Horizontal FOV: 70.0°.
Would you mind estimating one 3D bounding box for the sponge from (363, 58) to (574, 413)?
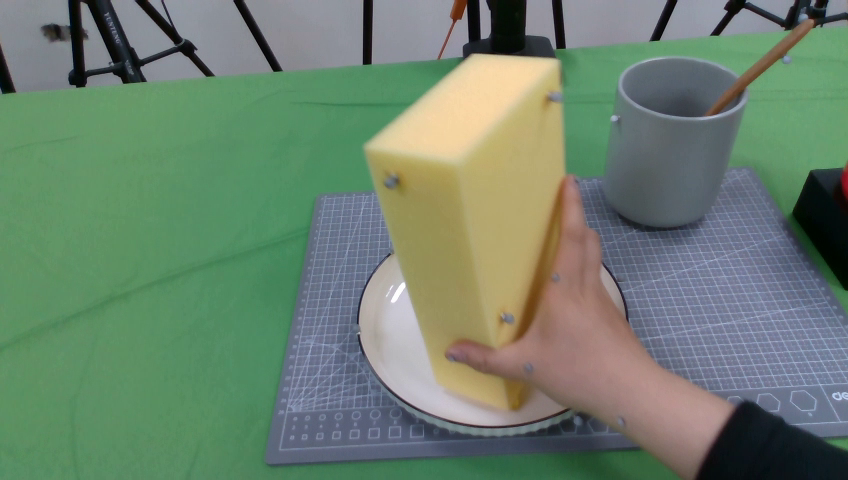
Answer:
[{"bbox_3d":[0.043,0.002,0.400,0.060,0.209,0.118,14,47,32],"label":"sponge"}]

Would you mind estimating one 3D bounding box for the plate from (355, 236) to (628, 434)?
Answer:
[{"bbox_3d":[0.051,0.063,0.481,0.207,0.039,0.205,-3,44,3],"label":"plate"}]

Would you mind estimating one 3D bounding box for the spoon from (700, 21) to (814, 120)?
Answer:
[{"bbox_3d":[0.246,-0.104,0.516,0.022,0.194,0.041,28,41,-6],"label":"spoon"}]

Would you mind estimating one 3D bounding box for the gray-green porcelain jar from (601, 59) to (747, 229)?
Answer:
[{"bbox_3d":[0.219,-0.082,0.550,0.106,0.128,0.105,-3,44,3],"label":"gray-green porcelain jar"}]
